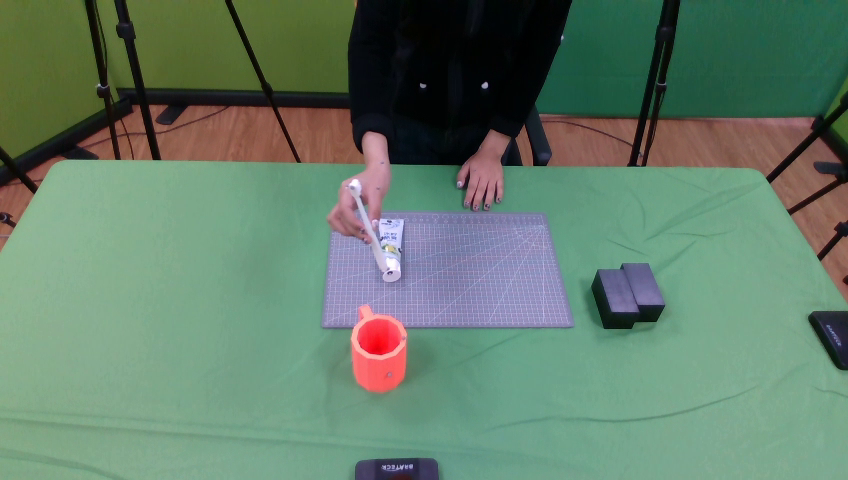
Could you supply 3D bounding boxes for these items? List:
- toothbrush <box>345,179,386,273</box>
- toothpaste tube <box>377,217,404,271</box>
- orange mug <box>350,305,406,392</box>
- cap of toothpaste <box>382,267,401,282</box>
[{"bbox_3d":[-0.082,-0.017,0.886,0.014,0.183,0.016,-2,44,15],"label":"toothbrush"},{"bbox_3d":[-0.063,0.008,1.179,0.055,0.034,0.164,5,42,-9],"label":"toothpaste tube"},{"bbox_3d":[-0.080,0.168,0.978,0.083,0.101,0.125,-16,54,-18],"label":"orange mug"},{"bbox_3d":[-0.060,0.063,1.119,0.037,0.037,0.011,-9,50,-12],"label":"cap of toothpaste"}]
